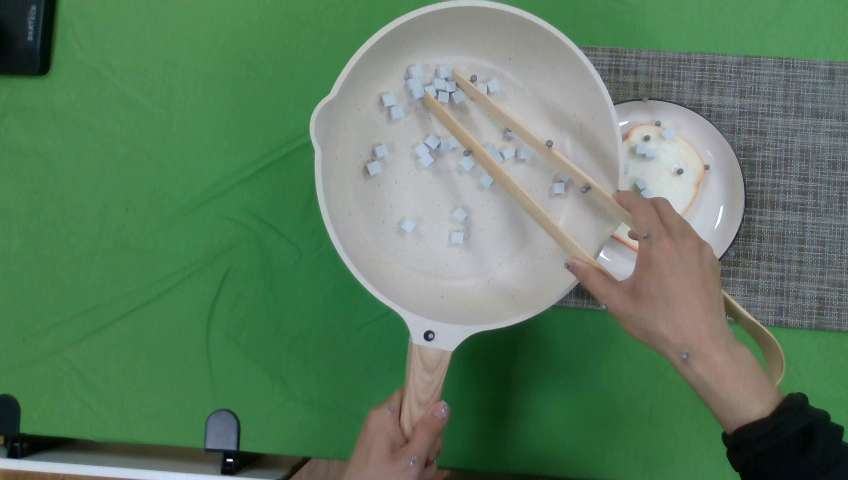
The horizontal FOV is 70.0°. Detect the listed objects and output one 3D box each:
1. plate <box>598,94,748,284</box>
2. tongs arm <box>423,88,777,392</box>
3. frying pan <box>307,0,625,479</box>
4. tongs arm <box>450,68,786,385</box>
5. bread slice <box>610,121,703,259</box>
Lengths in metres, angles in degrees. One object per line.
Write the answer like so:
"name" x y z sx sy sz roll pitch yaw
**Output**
"plate" 0.242 -0.054 0.667 0.207 0.039 0.207 0 86 5
"tongs arm" 0.137 -0.005 0.528 0.028 0.028 0.385 -42 78 -17
"frying pan" 0.018 0.034 0.555 0.308 0.102 0.486 15 83 -16
"tongs arm" 0.154 -0.020 0.532 0.383 0.026 0.050 40 76 11
"bread slice" 0.240 -0.062 0.670 0.107 0.018 0.134 28 91 5
